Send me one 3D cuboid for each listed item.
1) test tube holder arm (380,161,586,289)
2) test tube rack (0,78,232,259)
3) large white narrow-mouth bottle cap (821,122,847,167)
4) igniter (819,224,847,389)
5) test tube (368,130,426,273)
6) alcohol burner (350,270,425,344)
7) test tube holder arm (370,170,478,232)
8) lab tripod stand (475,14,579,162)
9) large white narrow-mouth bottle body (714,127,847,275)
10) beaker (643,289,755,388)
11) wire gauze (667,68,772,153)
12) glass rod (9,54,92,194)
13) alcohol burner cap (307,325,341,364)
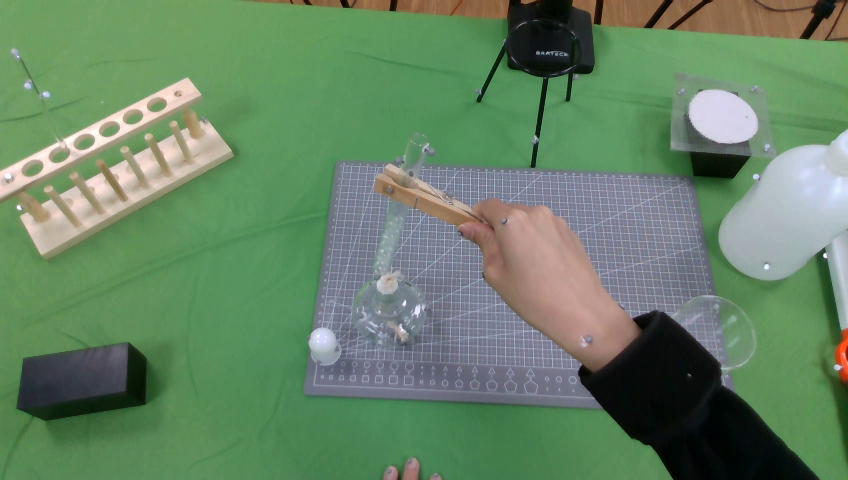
[{"bbox_3d":[0.042,-0.013,0.462,0.178,0.015,0.013,29,46,10],"label":"test tube holder arm"},{"bbox_3d":[-0.357,-0.085,0.703,0.242,0.086,0.066,-34,68,-18],"label":"test tube rack"},{"bbox_3d":[0.394,-0.089,0.564,0.038,0.024,0.037,1,61,-1],"label":"large white narrow-mouth bottle cap"},{"bbox_3d":[0.466,0.102,0.657,0.057,0.025,0.274,12,61,-6],"label":"igniter"},{"bbox_3d":[-0.024,-0.025,0.488,0.017,0.151,0.017,11,44,-10],"label":"test tube"},{"bbox_3d":[-0.037,0.061,0.614,0.078,0.120,0.077,2,61,-2],"label":"alcohol burner"},{"bbox_3d":[0.000,-0.030,0.464,0.088,0.015,0.010,24,45,5],"label":"test tube holder arm"},{"bbox_3d":[0.134,-0.193,0.747,0.148,0.132,0.147,1,63,-2],"label":"lab tripod stand"},{"bbox_3d":[0.392,-0.046,0.639,0.102,0.196,0.101,0,61,0],"label":"large white narrow-mouth bottle body"},{"bbox_3d":[0.267,0.103,0.607,0.084,0.101,0.073,8,61,4],"label":"beaker"},{"bbox_3d":[0.362,-0.160,0.750,0.121,0.011,0.124,9,62,4],"label":"wire gauze"},{"bbox_3d":[-0.390,-0.112,0.642,0.008,0.201,0.008,3,53,-4],"label":"glass rod"},{"bbox_3d":[-0.105,0.107,0.629,0.034,0.048,0.033,0,63,1],"label":"alcohol burner cap"}]
